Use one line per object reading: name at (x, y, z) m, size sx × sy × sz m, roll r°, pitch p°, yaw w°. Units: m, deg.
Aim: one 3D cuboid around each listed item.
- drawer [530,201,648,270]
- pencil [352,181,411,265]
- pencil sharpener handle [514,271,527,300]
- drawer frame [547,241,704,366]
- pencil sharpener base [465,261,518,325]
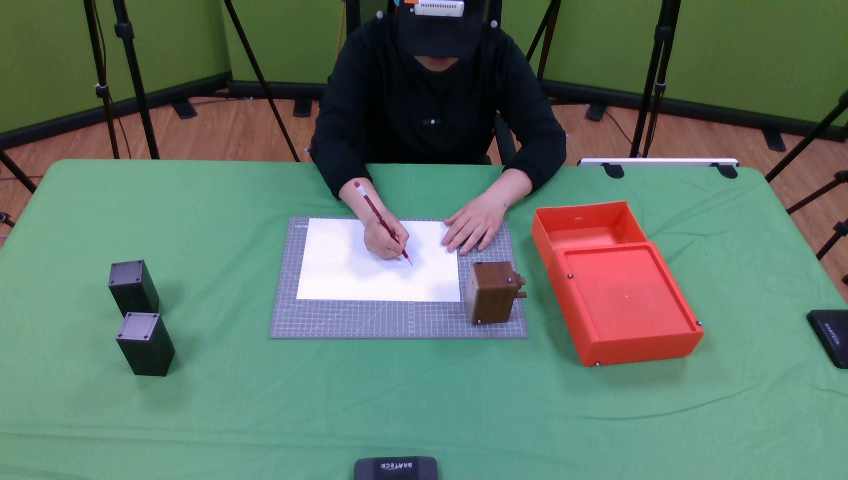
drawer at (0.329, 0.025, 1.159) m, size 0.195 × 0.073 × 0.210 m, roll -5°, pitch 46°, yaw -9°
pencil at (-0.075, -0.029, 1.125) m, size 0.012 × 0.195 × 0.012 m, roll -30°, pitch 19°, yaw 12°
pencil sharpener handle at (0.169, 0.081, 1.051) m, size 0.031 × 0.068 × 0.035 m, roll -3°, pitch 48°, yaw -7°
drawer frame at (0.348, 0.106, 1.077) m, size 0.202 × 0.083 × 0.212 m, roll -4°, pitch 47°, yaw -9°
pencil sharpener base at (0.117, 0.093, 1.052) m, size 0.077 × 0.107 × 0.061 m, roll -3°, pitch 46°, yaw -7°
